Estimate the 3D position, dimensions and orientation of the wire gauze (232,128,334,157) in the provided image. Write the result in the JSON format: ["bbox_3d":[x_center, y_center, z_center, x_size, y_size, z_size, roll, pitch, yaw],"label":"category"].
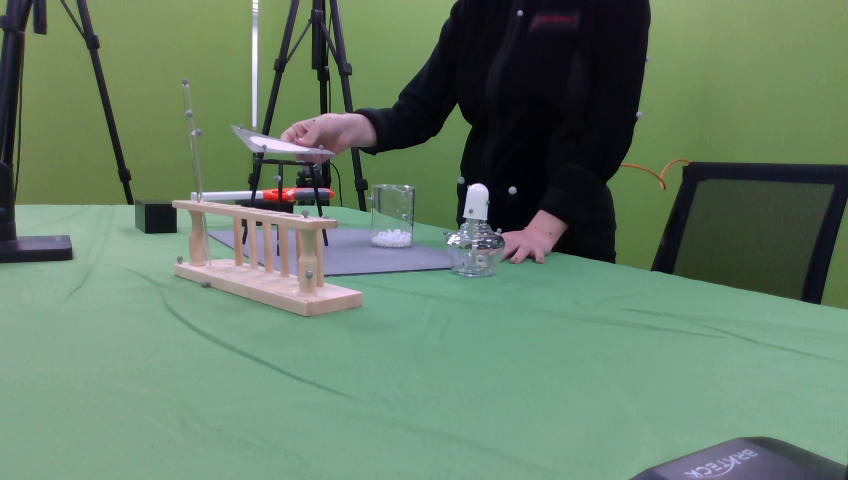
[{"bbox_3d":[-0.209,-0.140,0.886,0.122,0.011,0.124,3,18,-35],"label":"wire gauze"}]

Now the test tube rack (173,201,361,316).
[{"bbox_3d":[-0.169,0.010,0.622,0.241,0.085,0.067,9,10,41],"label":"test tube rack"}]

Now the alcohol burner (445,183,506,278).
[{"bbox_3d":[0.066,-0.013,0.770,0.078,0.119,0.078,0,7,0],"label":"alcohol burner"}]

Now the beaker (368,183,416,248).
[{"bbox_3d":[-0.050,-0.039,0.971,0.074,0.100,0.083,-2,9,-24],"label":"beaker"}]

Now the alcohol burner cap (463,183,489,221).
[{"bbox_3d":[0.067,-0.048,0.765,0.034,0.048,0.034,5,5,0],"label":"alcohol burner cap"}]

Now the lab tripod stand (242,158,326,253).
[{"bbox_3d":[-0.207,-0.054,0.895,0.148,0.131,0.148,2,5,0],"label":"lab tripod stand"}]

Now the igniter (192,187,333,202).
[{"bbox_3d":[-0.316,-0.090,1.213,0.278,0.025,0.057,-5,12,-31],"label":"igniter"}]

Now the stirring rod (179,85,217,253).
[{"bbox_3d":[-0.236,-0.073,0.634,0.006,0.176,0.014,0,9,41],"label":"stirring rod"}]
